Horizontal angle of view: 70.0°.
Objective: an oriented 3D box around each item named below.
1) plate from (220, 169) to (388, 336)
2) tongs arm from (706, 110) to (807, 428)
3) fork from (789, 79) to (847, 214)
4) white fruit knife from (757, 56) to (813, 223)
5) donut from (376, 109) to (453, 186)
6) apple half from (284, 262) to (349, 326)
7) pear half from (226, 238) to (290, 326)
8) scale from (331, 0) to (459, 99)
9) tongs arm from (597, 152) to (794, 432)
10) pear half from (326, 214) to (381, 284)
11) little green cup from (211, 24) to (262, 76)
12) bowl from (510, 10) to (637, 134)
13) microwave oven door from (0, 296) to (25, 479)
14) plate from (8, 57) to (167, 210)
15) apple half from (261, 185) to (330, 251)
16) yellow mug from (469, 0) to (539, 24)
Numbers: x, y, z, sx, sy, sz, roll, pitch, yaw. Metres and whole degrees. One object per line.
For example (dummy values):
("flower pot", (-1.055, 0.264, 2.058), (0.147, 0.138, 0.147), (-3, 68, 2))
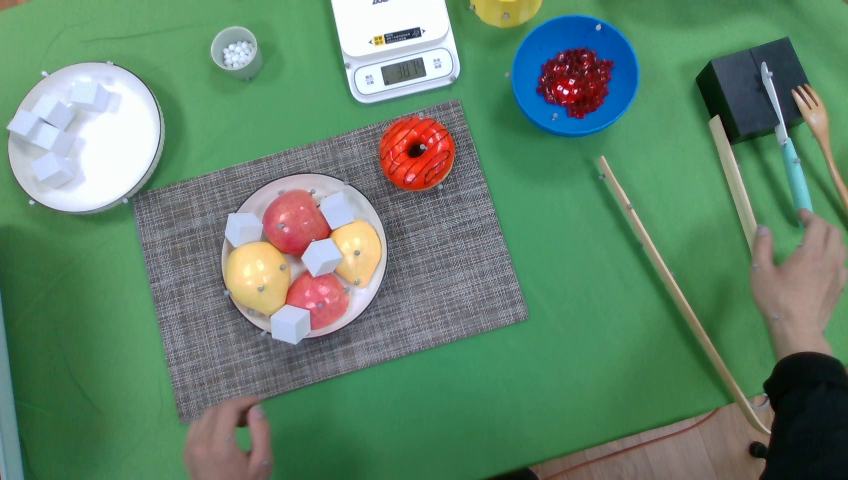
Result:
("plate", (-0.146, 0.015, 0.755), (0.209, 0.038, 0.208), (0, 81, 3))
("tongs arm", (0.397, 0.027, 0.730), (0.028, 0.028, 0.386), (-10, 81, -6))
("fork", (0.488, -0.096, 0.725), (0.028, 0.018, 0.207), (-26, 96, -3))
("white fruit knife", (0.430, -0.119, 0.725), (0.016, 0.027, 0.207), (-19, 95, 1))
("donut", (-0.012, -0.117, 0.764), (0.099, 0.048, 0.098), (-1, 82, 6))
("apple half", (-0.136, 0.065, 0.737), (0.081, 0.033, 0.081), (-1, 74, 3))
("pear half", (-0.196, 0.051, 0.730), (0.076, 0.056, 0.109), (-23, 84, -8))
("scale", (-0.043, -0.295, 0.805), (0.148, 0.031, 0.200), (-13, 81, 2))
("tongs arm", (0.319, 0.055, 0.726), (0.051, 0.026, 0.383), (-24, 81, -5))
("pear half", (-0.091, 0.010, 0.746), (0.070, 0.031, 0.087), (-16, 77, 14))
("little green cup", (-0.247, -0.250, 0.807), (0.061, 0.039, 0.061), (-1, 80, 4))
("bowl", (0.179, -0.195, 0.753), (0.151, 0.077, 0.151), (0, 82, 3))
("microwave oven door", (-0.527, 0.190, 0.631), (0.039, 0.245, 0.354), (-15, 80, 1))
("plate", (-0.437, -0.138, 0.800), (0.207, 0.039, 0.207), (-1, 81, 3))
("apple half", (-0.163, -0.028, 0.745), (0.074, 0.053, 0.080), (-29, 83, 1))
("yellow mug", (0.094, -0.352, 0.788), (0.130, 0.064, 0.100), (40, 86, 9))
